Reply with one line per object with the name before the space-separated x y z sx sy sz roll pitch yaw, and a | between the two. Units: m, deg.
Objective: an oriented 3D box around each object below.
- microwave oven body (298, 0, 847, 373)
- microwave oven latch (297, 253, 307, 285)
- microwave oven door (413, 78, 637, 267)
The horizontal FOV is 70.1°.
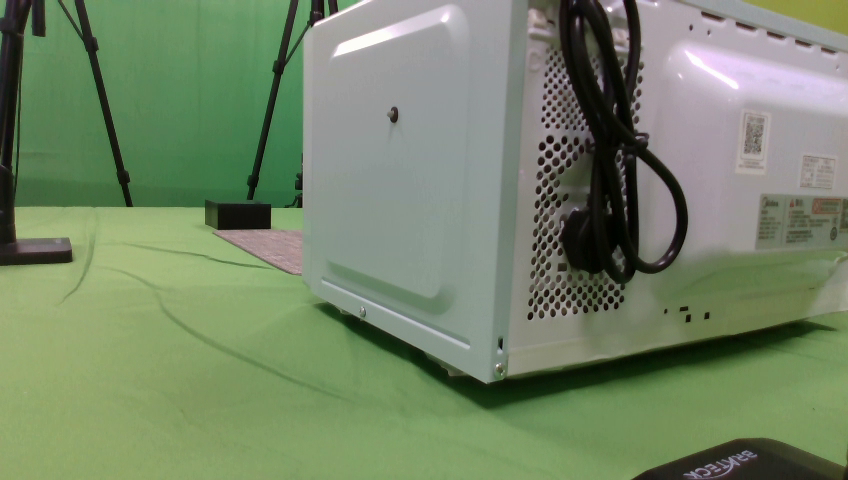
microwave oven body | 0.151 -0.055 0.543 0.444 0.260 0.324 -1 7 -33
microwave oven latch | -0.082 0.027 0.582 0.079 0.029 0.030 -1 7 -32
microwave oven door | 0.127 -0.104 0.888 0.354 0.243 0.039 9 10 40
